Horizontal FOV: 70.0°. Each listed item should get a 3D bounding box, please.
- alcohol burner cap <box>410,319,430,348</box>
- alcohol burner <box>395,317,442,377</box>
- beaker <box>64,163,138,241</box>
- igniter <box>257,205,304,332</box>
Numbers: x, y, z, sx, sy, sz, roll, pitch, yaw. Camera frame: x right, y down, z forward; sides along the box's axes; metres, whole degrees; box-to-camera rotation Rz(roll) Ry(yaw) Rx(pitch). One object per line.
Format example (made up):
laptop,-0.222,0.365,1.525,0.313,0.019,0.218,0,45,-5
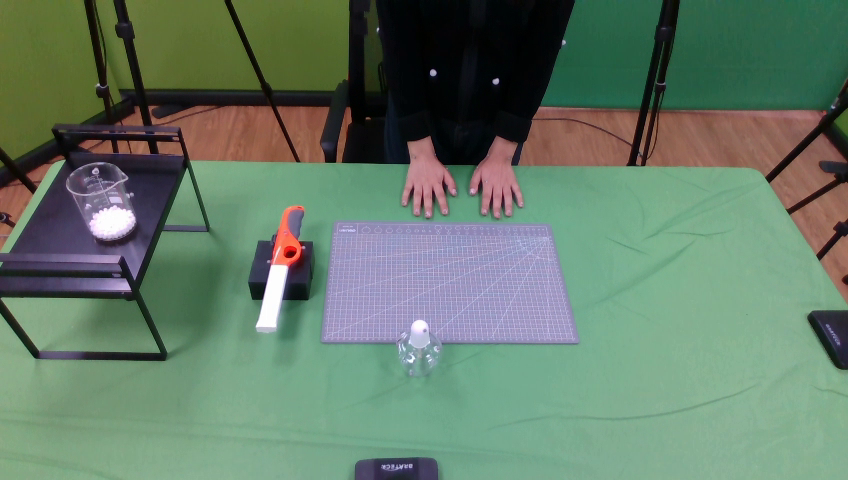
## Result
alcohol burner cap,-0.007,0.144,0.950,0.034,0.048,0.033,1,47,-1
alcohol burner,-0.009,0.166,0.972,0.078,0.120,0.077,1,45,0
beaker,-0.477,-0.055,0.910,0.084,0.101,0.073,-9,48,-13
igniter,-0.252,0.040,1.070,0.057,0.025,0.275,3,50,-1
